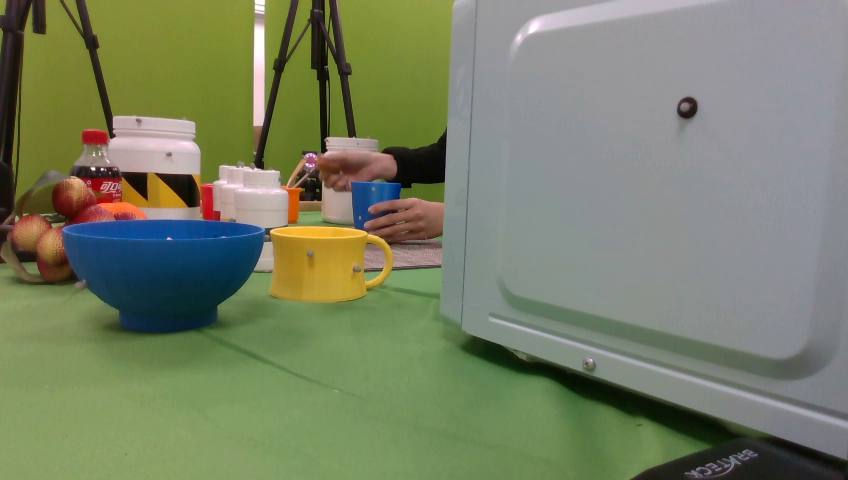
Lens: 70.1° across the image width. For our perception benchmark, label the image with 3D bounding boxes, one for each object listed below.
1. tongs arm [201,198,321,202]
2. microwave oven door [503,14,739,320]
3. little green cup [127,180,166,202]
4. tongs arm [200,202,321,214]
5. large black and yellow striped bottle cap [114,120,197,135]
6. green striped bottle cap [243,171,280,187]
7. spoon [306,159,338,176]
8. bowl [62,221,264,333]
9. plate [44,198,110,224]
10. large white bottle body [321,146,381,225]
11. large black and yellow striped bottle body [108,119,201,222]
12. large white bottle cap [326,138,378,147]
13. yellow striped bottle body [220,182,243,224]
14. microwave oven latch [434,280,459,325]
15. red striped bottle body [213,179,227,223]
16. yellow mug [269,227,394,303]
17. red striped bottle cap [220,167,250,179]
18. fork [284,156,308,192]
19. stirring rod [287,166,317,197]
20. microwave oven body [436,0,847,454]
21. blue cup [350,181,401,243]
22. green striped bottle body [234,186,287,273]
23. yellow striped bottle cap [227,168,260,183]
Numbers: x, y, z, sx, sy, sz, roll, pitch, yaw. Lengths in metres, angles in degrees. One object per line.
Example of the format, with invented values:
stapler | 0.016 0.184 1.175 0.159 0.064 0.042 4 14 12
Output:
tongs arm | -0.433 -0.090 1.508 0.390 0.028 0.028 -1 2 -29
microwave oven door | 0.218 -0.065 0.600 0.358 0.243 0.039 -4 10 -41
little green cup | -0.485 -0.086 1.061 0.061 0.038 0.061 1 7 0
tongs arm | -0.378 -0.079 1.440 0.387 0.026 0.050 -4 8 -44
large black and yellow striped bottle cap | -0.407 -0.171 0.920 0.115 0.019 0.115 2 9 0
green striped bottle cap | -0.198 -0.074 0.736 0.044 0.020 0.044 1 7 0
spoon | -0.189 -0.136 1.097 0.042 0.021 0.193 29 2 -23
bowl | -0.209 0.029 0.496 0.151 0.077 0.151 2 7 0
plate | -0.617 -0.056 1.179 0.209 0.038 0.209 3 7 0
large white bottle body | -0.162 -0.131 1.341 0.131 0.184 0.130 2 8 0
large black and yellow striped bottle body | -0.412 -0.088 0.930 0.131 0.184 0.130 3 7 0
large white bottle cap | -0.158 -0.214 1.329 0.115 0.018 0.115 2 8 0
yellow striped bottle body | -0.246 -0.036 0.825 0.063 0.120 0.063 3 8 0
microwave oven latch | 0.044 0.045 0.470 0.079 0.029 0.030 -2 8 -39
red striped bottle body | -0.284 -0.048 0.910 0.063 0.119 0.063 3 12 0
yellow mug | -0.094 0.023 0.629 0.131 0.064 0.099 0 7 -22
red striped bottle cap | -0.281 -0.099 0.901 0.044 0.017 0.044 -1 5 0
fork | -0.295 -0.116 1.323 0.028 0.019 0.207 1 50 21
stirring rod | -0.283 -0.107 1.298 0.014 0.006 0.176 10 52 51
microwave oven body | 0.279 -0.040 0.465 0.444 0.260 0.324 -3 9 -41
blue cup | -0.082 -0.047 1.013 0.093 0.100 0.092 2 6 0
green striped bottle body | -0.200 -0.023 0.743 0.063 0.119 0.063 2 7 0
yellow striped bottle cap | -0.243 -0.087 0.818 0.044 0.018 0.044 4 6 0
